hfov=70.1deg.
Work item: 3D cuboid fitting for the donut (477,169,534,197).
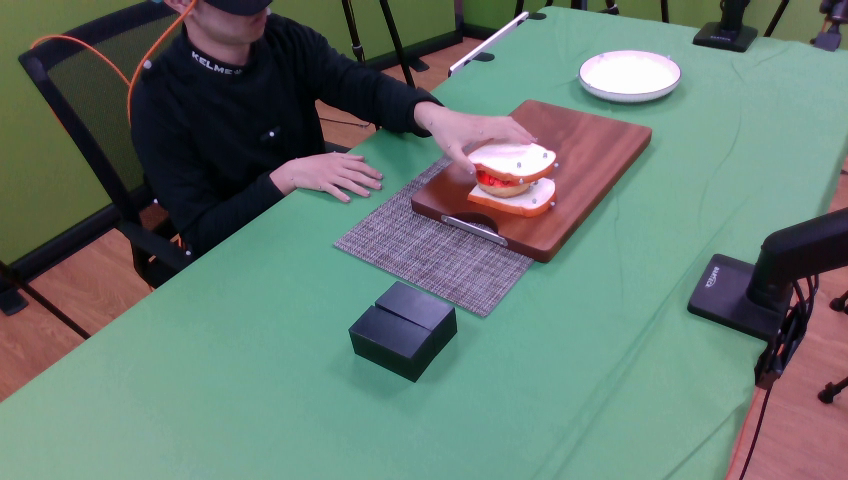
[{"bbox_3d":[0.136,-0.108,0.990,0.099,0.048,0.098,-5,40,5],"label":"donut"}]

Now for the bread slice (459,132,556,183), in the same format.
[{"bbox_3d":[0.142,-0.131,0.969,0.133,0.018,0.107,25,47,34],"label":"bread slice"}]

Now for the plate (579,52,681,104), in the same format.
[{"bbox_3d":[0.437,-0.343,1.294,0.209,0.038,0.208,-4,40,4],"label":"plate"}]

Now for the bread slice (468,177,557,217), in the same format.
[{"bbox_3d":[0.154,-0.083,1.003,0.130,0.019,0.105,18,48,29],"label":"bread slice"}]
